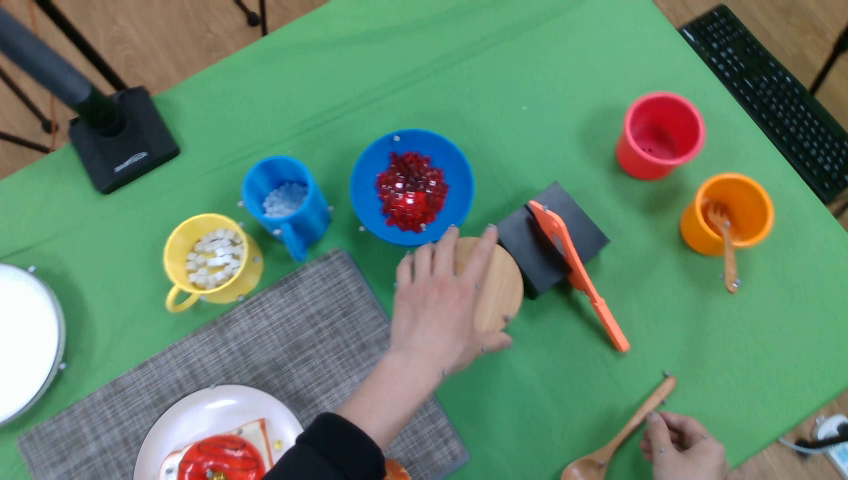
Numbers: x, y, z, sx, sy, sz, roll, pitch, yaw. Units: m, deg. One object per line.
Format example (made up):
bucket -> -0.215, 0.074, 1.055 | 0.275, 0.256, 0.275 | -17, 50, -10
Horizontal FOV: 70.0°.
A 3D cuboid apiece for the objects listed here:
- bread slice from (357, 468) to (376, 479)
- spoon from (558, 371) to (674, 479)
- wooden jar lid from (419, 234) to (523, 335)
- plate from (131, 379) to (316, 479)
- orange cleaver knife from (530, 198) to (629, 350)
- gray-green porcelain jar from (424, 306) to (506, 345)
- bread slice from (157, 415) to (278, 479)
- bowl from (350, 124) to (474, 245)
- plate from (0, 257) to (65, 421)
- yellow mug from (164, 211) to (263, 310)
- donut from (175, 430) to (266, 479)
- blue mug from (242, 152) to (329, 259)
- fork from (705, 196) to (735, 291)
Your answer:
bread slice -> -0.043, 0.292, 0.636 | 0.018, 0.135, 0.106 | -23, 73, -14
spoon -> 0.230, 0.222, 0.706 | 0.193, 0.022, 0.041 | -43, 59, -9
wooden jar lid -> 0.049, 0.047, 0.639 | 0.108, 0.021, 0.108 | 0, 76, -2
plate -> -0.224, 0.266, 0.692 | 0.209, 0.038, 0.208 | 0, 75, 1
orange cleaver knife -> 0.185, 0.041, 0.726 | 0.012, 0.076, 0.212 | -34, 106, -7
gray-green porcelain jar -> 0.052, 0.065, 0.699 | 0.106, 0.127, 0.105 | 0, 74, 1
bread slice -> -0.236, 0.272, 0.695 | 0.132, 0.019, 0.104 | -17, 74, -8
bowl -> -0.013, -0.058, 0.759 | 0.151, 0.077, 0.150 | 0, 75, 1
plate -> -0.539, 0.125, 0.741 | 0.208, 0.039, 0.206 | 0, 75, 1
yellow mug -> -0.267, 0.033, 0.746 | 0.099, 0.064, 0.130 | 35, 79, 11
donut -> -0.222, 0.260, 0.664 | 0.099, 0.048, 0.098 | 1, 75, -2
blue mug -> -0.164, -0.034, 0.742 | 0.082, 0.106, 0.116 | -12, 75, -2
fork -> 0.344, -0.001, 0.699 | 0.028, 0.019, 0.206 | 29, 33, 3
